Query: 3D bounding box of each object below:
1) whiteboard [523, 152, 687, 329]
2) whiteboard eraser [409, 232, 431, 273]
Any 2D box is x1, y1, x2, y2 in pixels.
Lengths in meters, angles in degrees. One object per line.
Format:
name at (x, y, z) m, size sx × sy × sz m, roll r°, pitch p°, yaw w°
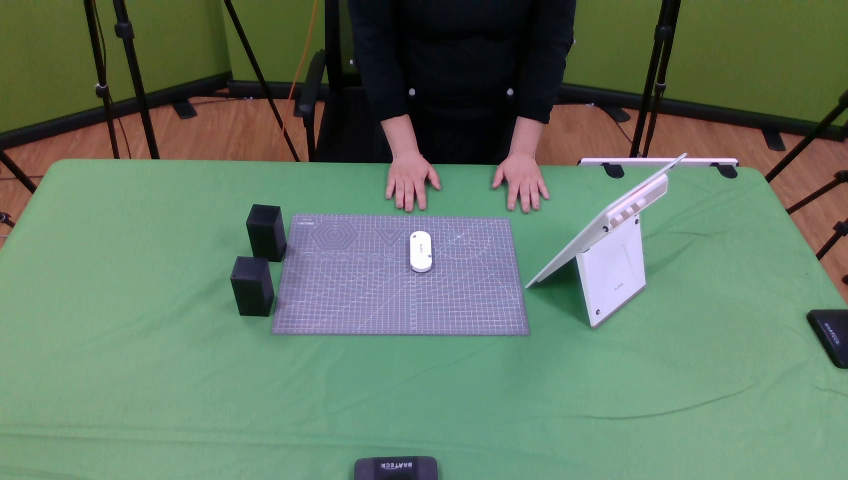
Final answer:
whiteboard at (0.346, 0.024, 1.047) m, size 0.217 × 0.306 × 0.143 m, roll -30°, pitch 74°, yaw -29°
whiteboard eraser at (-0.008, 0.023, 1.173) m, size 0.041 × 0.019 × 0.100 m, roll 1°, pitch 45°, yaw -3°
